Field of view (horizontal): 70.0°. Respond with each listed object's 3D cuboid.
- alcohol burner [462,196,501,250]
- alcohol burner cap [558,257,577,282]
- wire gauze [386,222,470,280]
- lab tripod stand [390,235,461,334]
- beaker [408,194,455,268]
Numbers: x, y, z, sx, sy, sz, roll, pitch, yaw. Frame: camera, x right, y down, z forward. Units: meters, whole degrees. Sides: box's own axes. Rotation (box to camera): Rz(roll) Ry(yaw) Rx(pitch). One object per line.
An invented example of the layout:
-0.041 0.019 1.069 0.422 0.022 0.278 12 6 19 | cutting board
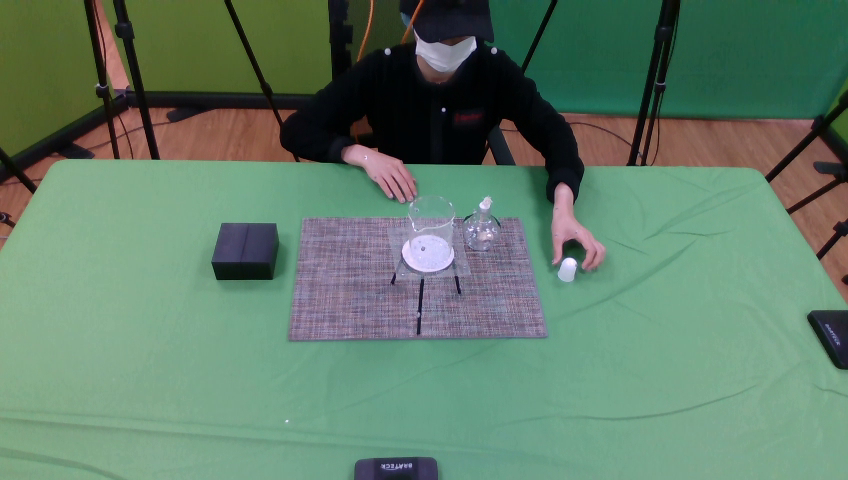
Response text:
0.112 -0.037 1.173 0.078 0.120 0.077 1 45 -1 | alcohol burner
0.276 0.053 1.154 0.034 0.048 0.033 2 46 -2 | alcohol burner cap
0.005 0.018 1.006 0.125 0.011 0.120 -7 45 -5 | wire gauze
-0.002 0.067 1.050 0.148 0.132 0.147 1 47 -1 | lab tripod stand
0.009 -0.010 0.965 0.074 0.101 0.084 23 50 20 | beaker
